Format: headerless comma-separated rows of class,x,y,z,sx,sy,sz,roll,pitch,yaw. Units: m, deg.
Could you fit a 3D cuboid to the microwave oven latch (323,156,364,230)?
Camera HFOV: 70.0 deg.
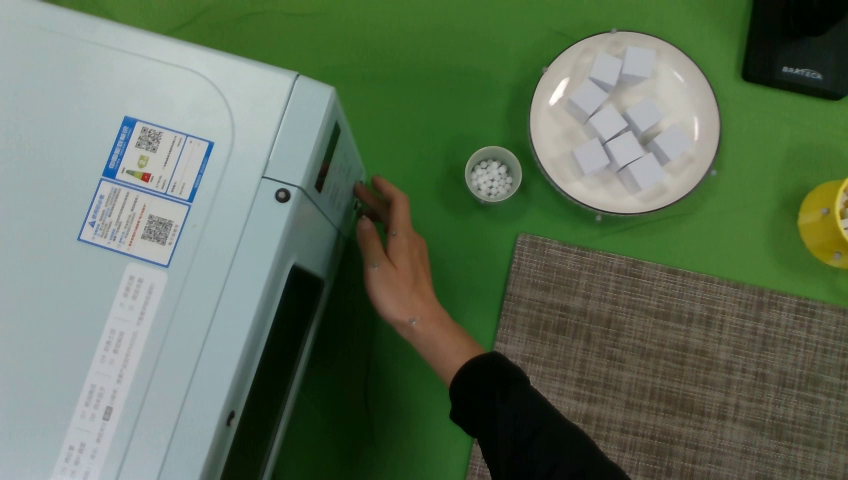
microwave oven latch,-0.088,-0.053,0.641,0.030,0.029,0.079,20,84,2

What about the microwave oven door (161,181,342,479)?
microwave oven door,-0.152,0.142,0.513,0.039,0.244,0.355,16,82,2

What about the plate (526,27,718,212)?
plate,0.215,-0.131,0.672,0.208,0.039,0.207,0,82,0

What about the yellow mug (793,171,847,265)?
yellow mug,0.466,-0.012,0.643,0.100,0.064,0.130,-16,83,-3

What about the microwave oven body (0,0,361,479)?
microwave oven body,-0.280,0.062,0.528,0.326,0.261,0.440,16,83,2

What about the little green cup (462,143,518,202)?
little green cup,0.070,-0.071,0.661,0.061,0.039,0.061,0,83,-1
